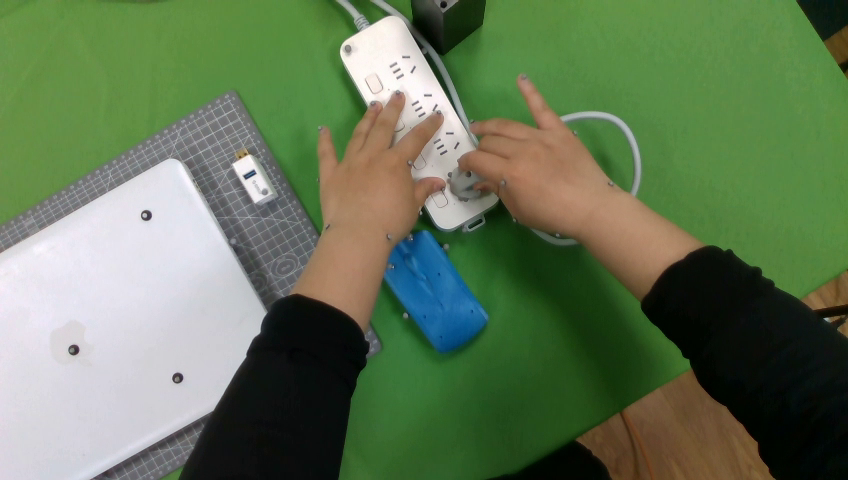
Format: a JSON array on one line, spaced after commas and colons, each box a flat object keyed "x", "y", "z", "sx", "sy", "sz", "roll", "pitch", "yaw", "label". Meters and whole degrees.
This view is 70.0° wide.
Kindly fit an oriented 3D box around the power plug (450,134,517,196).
[{"x": 0.058, "y": -0.067, "z": 0.556, "sx": 0.072, "sy": 0.052, "sz": 0.035, "roll": -22, "pitch": 92, "yaw": 14, "label": "power plug"}]

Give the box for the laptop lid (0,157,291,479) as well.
[{"x": -0.333, "y": 0.103, "z": 0.585, "sx": 0.357, "sy": 0.013, "sz": 0.241, "roll": -28, "pitch": 90, "yaw": 1, "label": "laptop lid"}]

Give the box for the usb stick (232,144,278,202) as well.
[{"x": -0.168, "y": -0.067, "z": 0.590, "sx": 0.021, "sy": 0.027, "sz": 0.059, "roll": -29, "pitch": 87, "yaw": 3, "label": "usb stick"}]

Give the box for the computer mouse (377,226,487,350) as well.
[{"x": 0.006, "y": 0.046, "z": 0.580, "sx": 0.063, "sy": 0.041, "sz": 0.117, "roll": -35, "pitch": 82, "yaw": 3, "label": "computer mouse"}]

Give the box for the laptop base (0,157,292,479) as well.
[{"x": -0.334, "y": 0.101, "z": 0.596, "sx": 0.354, "sy": 0.023, "sz": 0.235, "roll": -30, "pitch": 91, "yaw": 0, "label": "laptop base"}]

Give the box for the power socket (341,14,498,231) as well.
[{"x": -0.004, "y": -0.113, "z": 0.587, "sx": 0.072, "sy": 0.032, "sz": 0.226, "roll": -28, "pitch": 87, "yaw": 2, "label": "power socket"}]
